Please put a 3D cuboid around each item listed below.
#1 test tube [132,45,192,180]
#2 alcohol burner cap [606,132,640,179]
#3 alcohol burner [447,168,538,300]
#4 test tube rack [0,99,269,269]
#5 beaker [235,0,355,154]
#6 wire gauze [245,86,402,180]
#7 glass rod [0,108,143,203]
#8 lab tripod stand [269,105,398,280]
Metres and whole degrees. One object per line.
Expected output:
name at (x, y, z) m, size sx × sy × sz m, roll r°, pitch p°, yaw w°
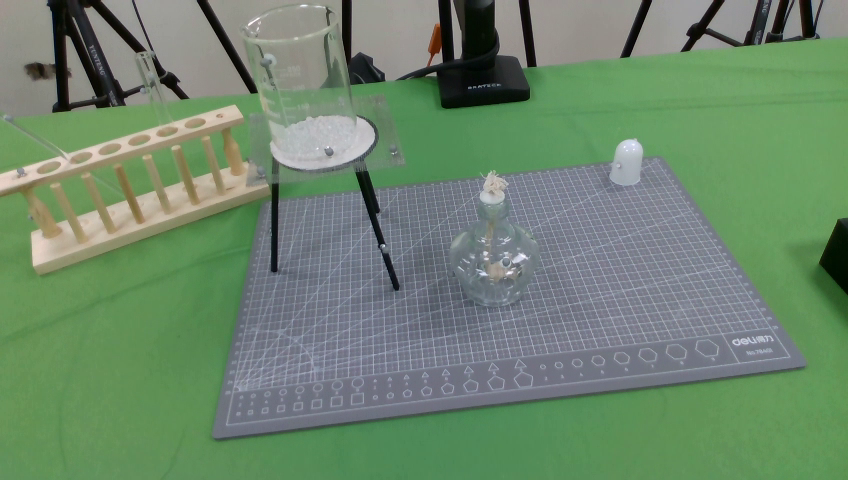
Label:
test tube at (-0.272, -0.128, 0.634) m, size 0.017 × 0.151 × 0.017 m, roll -3°, pitch 38°, yaw 2°
alcohol burner cap at (0.212, -0.092, 0.642) m, size 0.034 × 0.048 × 0.033 m, roll -3°, pitch 41°, yaw 3°
alcohol burner at (0.057, -0.008, 0.508) m, size 0.078 × 0.120 × 0.077 m, roll -4°, pitch 39°, yaw 3°
test tube rack at (-0.299, -0.063, 0.638) m, size 0.243 × 0.086 × 0.066 m, roll -23°, pitch 44°, yaw -19°
beaker at (-0.097, -0.125, 0.470) m, size 0.083 × 0.101 × 0.073 m, roll 14°, pitch 44°, yaw 23°
wire gauze at (-0.087, -0.090, 0.503) m, size 0.125 × 0.011 × 0.120 m, roll -12°, pitch 39°, yaw -3°
glass rod at (-0.360, -0.090, 0.591) m, size 0.008 × 0.202 × 0.008 m, roll -19°, pitch 50°, yaw 25°
lab tripod stand at (-0.082, -0.041, 0.546) m, size 0.148 × 0.133 × 0.147 m, roll -4°, pitch 43°, yaw 4°
